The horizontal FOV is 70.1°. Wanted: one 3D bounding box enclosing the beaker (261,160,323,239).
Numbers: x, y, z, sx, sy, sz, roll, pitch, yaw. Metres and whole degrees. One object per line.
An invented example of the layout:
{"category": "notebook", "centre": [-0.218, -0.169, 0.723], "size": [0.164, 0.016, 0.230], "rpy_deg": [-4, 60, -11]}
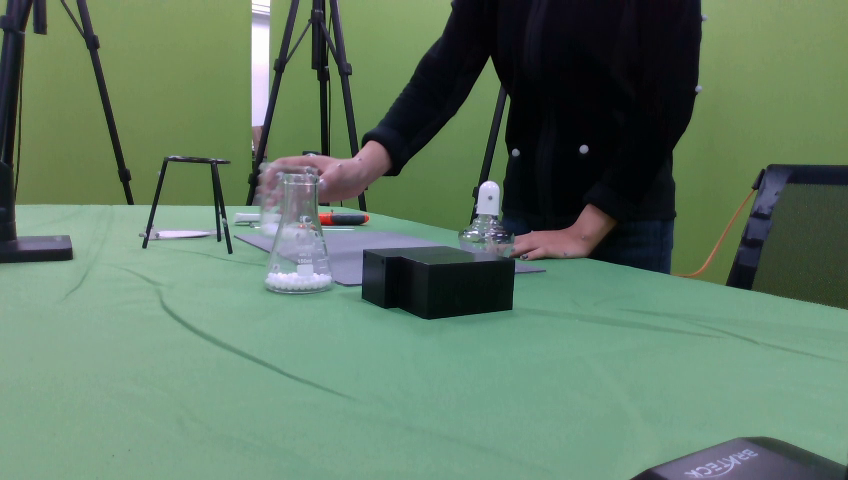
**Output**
{"category": "beaker", "centre": [-0.183, -0.055, 0.816], "size": [0.084, 0.100, 0.074], "rpy_deg": [7, 6, 14]}

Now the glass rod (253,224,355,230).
{"category": "glass rod", "centre": [-0.226, -0.024, 1.162], "size": [0.201, 0.008, 0.008], "rpy_deg": [1, 7, -28]}

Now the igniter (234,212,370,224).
{"category": "igniter", "centre": [-0.247, -0.046, 1.253], "size": [0.278, 0.025, 0.057], "rpy_deg": [-1, -3, -27]}

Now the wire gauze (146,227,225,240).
{"category": "wire gauze", "centre": [-0.400, -0.012, 1.019], "size": [0.122, 0.011, 0.124], "rpy_deg": [-1, 6, -26]}

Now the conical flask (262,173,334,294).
{"category": "conical flask", "centre": [-0.131, -0.009, 0.633], "size": [0.075, 0.122, 0.075], "rpy_deg": [2, 8, 0]}

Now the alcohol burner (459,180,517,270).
{"category": "alcohol burner", "centre": [0.086, -0.021, 0.805], "size": [0.078, 0.119, 0.078], "rpy_deg": [3, 9, 0]}

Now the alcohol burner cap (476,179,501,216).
{"category": "alcohol burner cap", "centre": [0.086, -0.056, 0.801], "size": [0.034, 0.048, 0.034], "rpy_deg": [4, 2, 0]}

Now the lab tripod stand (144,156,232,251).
{"category": "lab tripod stand", "centre": [-0.325, -0.054, 0.881], "size": [0.148, 0.131, 0.148], "rpy_deg": [4, 7, 0]}
